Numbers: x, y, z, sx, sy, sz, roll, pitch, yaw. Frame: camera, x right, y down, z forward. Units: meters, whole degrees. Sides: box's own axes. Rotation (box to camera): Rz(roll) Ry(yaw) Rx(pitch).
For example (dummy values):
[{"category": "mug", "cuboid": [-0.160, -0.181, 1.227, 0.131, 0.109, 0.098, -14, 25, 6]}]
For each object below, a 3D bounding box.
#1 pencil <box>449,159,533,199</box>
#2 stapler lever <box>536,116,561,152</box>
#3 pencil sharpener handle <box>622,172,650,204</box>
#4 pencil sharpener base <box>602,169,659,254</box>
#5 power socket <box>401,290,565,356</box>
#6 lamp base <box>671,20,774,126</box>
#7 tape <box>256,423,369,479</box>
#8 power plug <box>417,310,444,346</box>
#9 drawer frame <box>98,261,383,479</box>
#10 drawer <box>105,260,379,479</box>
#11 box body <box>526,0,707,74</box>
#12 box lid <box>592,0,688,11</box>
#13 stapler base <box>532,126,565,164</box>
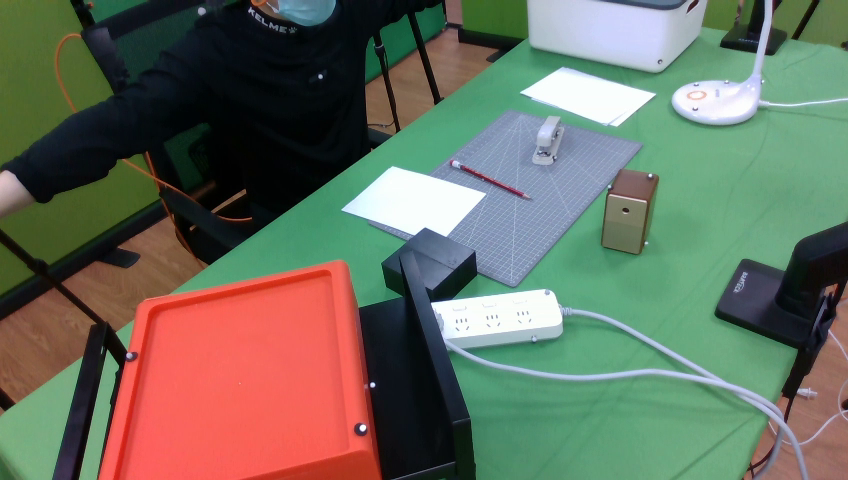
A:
[{"category": "pencil", "cuboid": [0.118, -0.110, 1.091, 0.192, 0.012, 0.012, 30, 53, 34]}, {"category": "stapler lever", "cuboid": [0.236, -0.209, 1.140, 0.026, 0.040, 0.118, 10, 43, 18]}, {"category": "pencil sharpener handle", "cuboid": [0.328, -0.086, 0.940, 0.036, 0.068, 0.030, 30, 49, 8]}, {"category": "pencil sharpener base", "cuboid": [0.312, -0.044, 0.913, 0.061, 0.107, 0.077, 14, 45, 24]}, {"category": "power socket", "cuboid": [0.080, 0.112, 0.822, 0.227, 0.033, 0.072, -6, 41, 0]}, {"category": "lamp base", "cuboid": [0.581, -0.332, 1.154, 0.179, 0.181, 0.160, 2, 41, 7]}, {"category": "tape", "cuboid": [-0.121, 0.262, 0.660, 0.117, 0.053, 0.116, -4, 40, 4]}, {"category": "power plug", "cuboid": [0.006, 0.122, 0.785, 0.035, 0.053, 0.072, -1, 40, 8]}, {"category": "drawer frame", "cuboid": [-0.148, 0.129, 0.519, 0.202, 0.083, 0.212, -12, 41, -6]}, {"category": "drawer", "cuboid": [-0.150, 0.127, 0.525, 0.195, 0.073, 0.210, -11, 41, -5]}, {"category": "box body", "cuboid": [0.450, -0.540, 1.430, 0.361, 0.161, 0.255, 24, 50, 31]}, {"category": "box lid", "cuboid": [0.441, -0.596, 1.383, 0.368, 0.015, 0.264, 24, 49, 31]}, {"category": "stapler base", "cuboid": [0.239, -0.189, 1.155, 0.041, 0.024, 0.130, 10, 42, 18]}]
